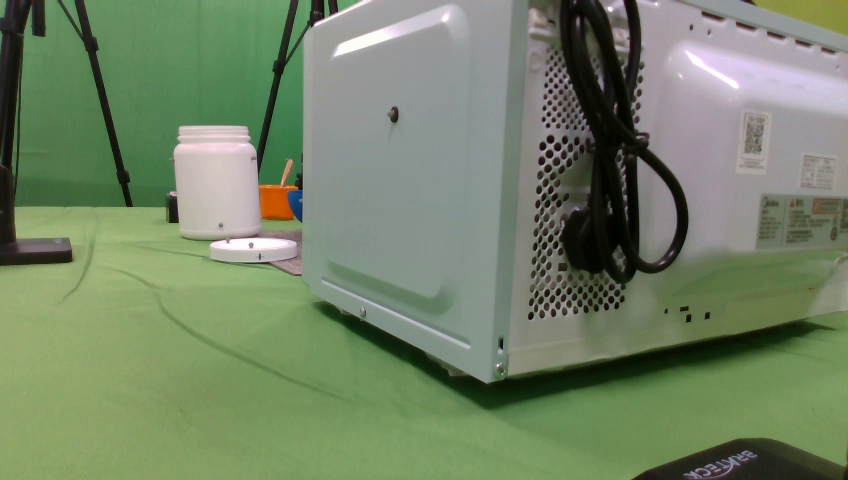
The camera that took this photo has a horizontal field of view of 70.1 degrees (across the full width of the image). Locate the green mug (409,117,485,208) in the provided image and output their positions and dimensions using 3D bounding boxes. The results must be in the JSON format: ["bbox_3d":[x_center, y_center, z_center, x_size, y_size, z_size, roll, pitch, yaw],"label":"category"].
[{"bbox_3d":[0.022,-0.098,0.766,0.093,0.105,0.124,0,10,-36],"label":"green mug"}]

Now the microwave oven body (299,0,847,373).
[{"bbox_3d":[0.151,-0.055,0.543,0.444,0.260,0.324,-1,7,-33],"label":"microwave oven body"}]

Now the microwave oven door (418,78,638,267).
[{"bbox_3d":[0.132,-0.105,0.893,0.354,0.243,0.039,9,10,43],"label":"microwave oven door"}]

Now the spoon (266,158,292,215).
[{"bbox_3d":[-0.334,-0.127,1.423,0.041,0.193,0.022,0,-37,7],"label":"spoon"}]

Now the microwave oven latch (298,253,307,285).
[{"bbox_3d":[-0.081,0.027,0.582,0.079,0.029,0.030,-1,7,-32],"label":"microwave oven latch"}]

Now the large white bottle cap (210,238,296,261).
[{"bbox_3d":[-0.236,0.012,0.839,0.115,0.018,0.115,1,7,0],"label":"large white bottle cap"}]

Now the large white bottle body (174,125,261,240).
[{"bbox_3d":[-0.349,-0.100,1.025,0.131,0.184,0.130,-1,9,0],"label":"large white bottle body"}]

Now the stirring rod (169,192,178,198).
[{"bbox_3d":[-0.465,-0.098,1.283,0.014,0.006,0.177,42,21,17],"label":"stirring rod"}]

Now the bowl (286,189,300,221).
[{"bbox_3d":[-0.179,-0.051,1.115,0.151,0.077,0.151,3,8,0],"label":"bowl"}]
